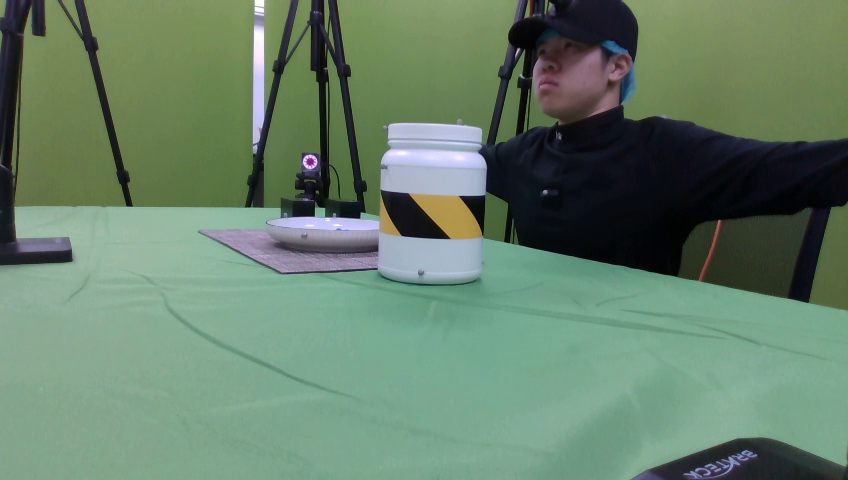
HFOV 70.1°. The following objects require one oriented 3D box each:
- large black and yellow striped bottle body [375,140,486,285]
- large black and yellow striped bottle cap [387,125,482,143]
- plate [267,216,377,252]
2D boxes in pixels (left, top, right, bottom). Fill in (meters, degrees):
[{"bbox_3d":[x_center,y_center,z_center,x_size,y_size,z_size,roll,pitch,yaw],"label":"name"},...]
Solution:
[{"bbox_3d":[0.008,-0.044,0.744,0.131,0.184,0.130,3,7,0],"label":"large black and yellow striped bottle body"},{"bbox_3d":[0.012,-0.127,0.731,0.115,0.019,0.115,1,6,0],"label":"large black and yellow striped bottle cap"},{"bbox_3d":[-0.145,-0.010,0.967,0.208,0.039,0.207,2,7,0],"label":"plate"}]
